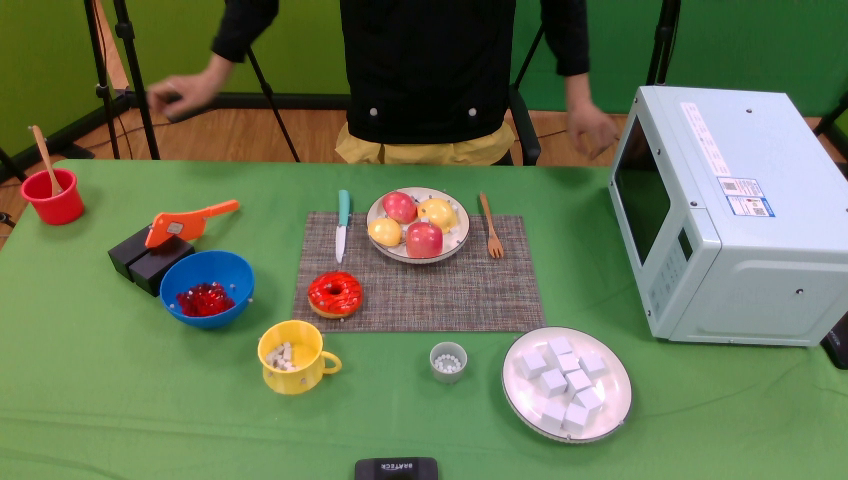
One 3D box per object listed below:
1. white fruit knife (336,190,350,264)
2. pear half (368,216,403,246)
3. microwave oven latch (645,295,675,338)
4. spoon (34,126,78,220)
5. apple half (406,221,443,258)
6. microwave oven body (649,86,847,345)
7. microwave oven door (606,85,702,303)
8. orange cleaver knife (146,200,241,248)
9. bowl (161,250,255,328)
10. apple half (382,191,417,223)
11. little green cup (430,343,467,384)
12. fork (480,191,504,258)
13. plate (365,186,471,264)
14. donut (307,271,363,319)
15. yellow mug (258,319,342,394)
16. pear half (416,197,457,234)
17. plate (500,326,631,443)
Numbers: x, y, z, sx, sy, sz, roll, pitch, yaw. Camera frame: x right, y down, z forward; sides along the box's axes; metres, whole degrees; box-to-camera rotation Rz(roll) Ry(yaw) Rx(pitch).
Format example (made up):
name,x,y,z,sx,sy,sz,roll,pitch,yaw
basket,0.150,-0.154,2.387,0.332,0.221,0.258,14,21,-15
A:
name,x,y,z,sx,sy,sz,roll,pitch,yaw
white fruit knife,-0.164,-0.030,1.217,0.027,0.016,0.206,-21,45,19
pear half,-0.070,-0.026,1.184,0.070,0.031,0.087,32,46,-2
microwave oven latch,0.412,0.134,1.061,0.030,0.029,0.078,3,45,0
spoon,-0.726,-0.132,1.188,0.041,0.021,0.194,-18,95,-20
apple half,0.001,-0.006,1.164,0.075,0.053,0.080,5,42,0
microwave oven body,0.567,-0.053,1.118,0.326,0.261,0.439,2,45,-1
microwave oven door,0.423,-0.094,1.140,0.039,0.245,0.353,2,46,-1
orange cleaver knife,-0.435,-0.033,1.157,0.012,0.077,0.211,31,26,19
bowl,-0.362,0.097,1.040,0.151,0.077,0.150,2,45,-2
apple half,-0.043,-0.072,1.225,0.081,0.033,0.081,19,41,-17
little green cup,0.039,0.203,0.994,0.061,0.039,0.061,2,46,-2
fork,0.136,-0.035,1.241,0.028,0.019,0.206,-8,46,1
plate,-0.013,-0.027,1.207,0.209,0.038,0.208,2,46,-2
donut,-0.157,0.097,1.072,0.099,0.048,0.098,4,45,-4
yellow mug,-0.196,0.189,0.972,0.131,0.064,0.099,9,46,4
pear half,0.017,-0.065,1.226,0.076,0.056,0.109,-27,51,-32
plate,0.224,0.233,0.978,0.208,0.039,0.206,2,46,-2
